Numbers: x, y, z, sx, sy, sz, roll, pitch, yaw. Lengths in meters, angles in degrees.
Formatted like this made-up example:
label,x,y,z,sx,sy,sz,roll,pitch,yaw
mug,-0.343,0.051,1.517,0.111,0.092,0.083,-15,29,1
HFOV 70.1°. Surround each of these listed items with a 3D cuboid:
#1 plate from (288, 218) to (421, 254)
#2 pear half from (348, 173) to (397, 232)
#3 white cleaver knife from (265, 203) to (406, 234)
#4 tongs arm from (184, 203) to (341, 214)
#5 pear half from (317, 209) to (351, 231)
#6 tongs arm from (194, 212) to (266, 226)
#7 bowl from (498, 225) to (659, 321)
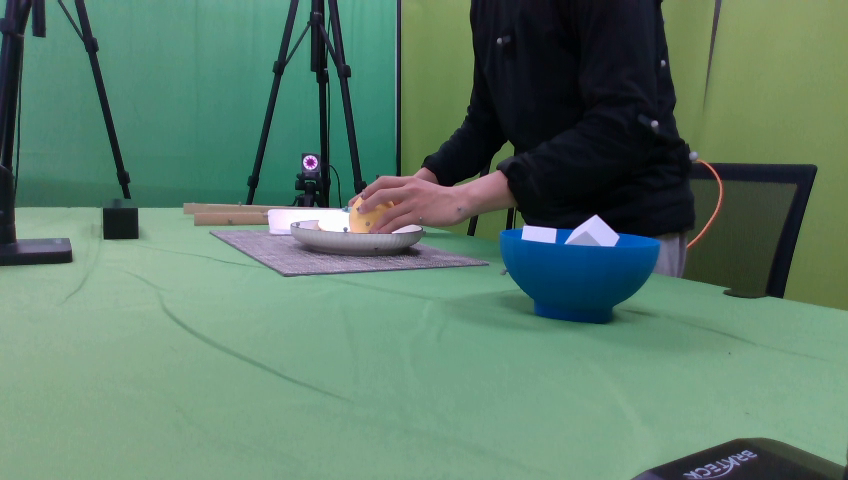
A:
label,x,y,z,sx,sy,sz,roll,pitch,yaw
plate,-0.109,-0.007,0.956,0.208,0.039,0.207,2,7,0
pear half,-0.072,-0.047,0.924,0.055,0.110,0.077,24,30,39
white cleaver knife,-0.161,-0.038,1.146,0.288,0.065,0.021,-5,-32,-31
tongs arm,-0.337,-0.065,1.376,0.387,0.026,0.050,0,9,-25
pear half,-0.144,-0.021,1.012,0.071,0.031,0.087,-3,27,-25
tongs arm,-0.298,-0.049,1.307,0.390,0.028,0.028,-3,8,-38
bowl,0.144,0.031,0.585,0.151,0.077,0.151,2,7,0
